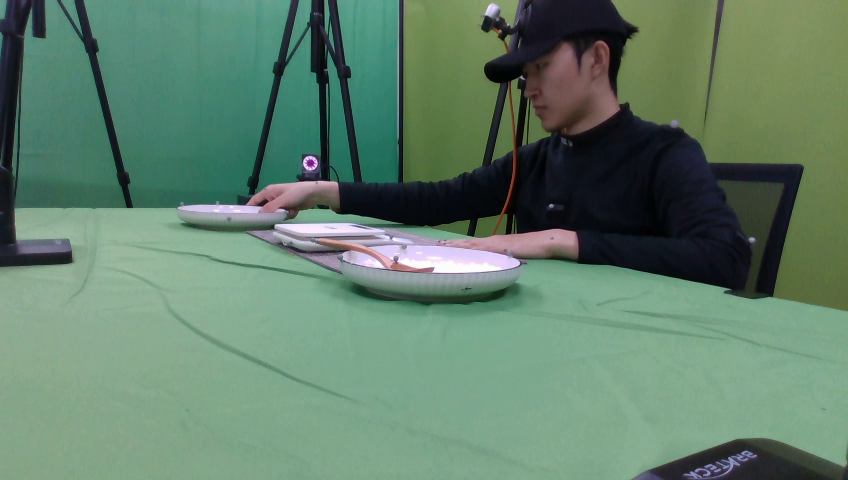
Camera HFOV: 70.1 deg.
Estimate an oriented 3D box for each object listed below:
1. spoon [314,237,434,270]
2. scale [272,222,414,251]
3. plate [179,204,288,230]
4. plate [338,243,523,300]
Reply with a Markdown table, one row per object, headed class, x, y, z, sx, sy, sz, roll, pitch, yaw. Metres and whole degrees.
| class | x | y | z | sx | sy | sz | roll | pitch | yaw |
| --- | --- | --- | --- | --- | --- | --- | --- | --- | --- |
| spoon | -0.064 | 0.015 | 0.695 | 0.192 | 0.021 | 0.042 | 18 | 17 | 42 |
| scale | -0.131 | -0.008 | 0.984 | 0.202 | 0.031 | 0.148 | -2 | 8 | -32 |
| plate | -0.382 | -0.046 | 1.222 | 0.208 | 0.039 | 0.207 | 2 | 7 | 0 |
| plate | 0.007 | 0.035 | 0.688 | 0.209 | 0.038 | 0.209 | 2 | 7 | 0 |
